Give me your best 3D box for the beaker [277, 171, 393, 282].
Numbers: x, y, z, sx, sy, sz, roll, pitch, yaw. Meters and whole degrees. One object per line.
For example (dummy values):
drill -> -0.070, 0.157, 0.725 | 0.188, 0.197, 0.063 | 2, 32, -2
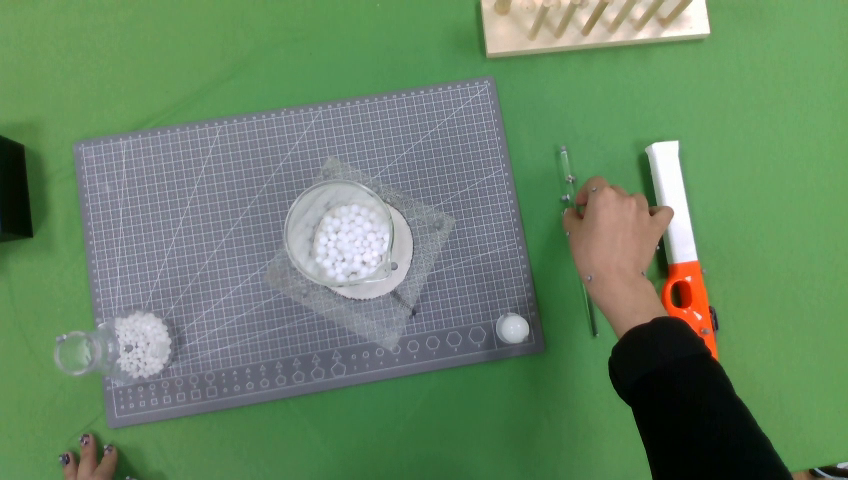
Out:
beaker -> -0.058, -0.003, 0.454 | 0.084, 0.100, 0.074 | 41, 86, 2

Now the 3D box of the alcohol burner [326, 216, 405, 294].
alcohol burner -> -0.057, 0.013, 0.576 | 0.078, 0.119, 0.078 | 0, 86, 0

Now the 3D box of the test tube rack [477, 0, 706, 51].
test tube rack -> 0.181, -0.254, 0.622 | 0.242, 0.085, 0.066 | -6, 84, -2

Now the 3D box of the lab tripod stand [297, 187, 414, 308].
lab tripod stand -> -0.059, 0.009, 0.567 | 0.148, 0.131, 0.148 | 0, 86, 0

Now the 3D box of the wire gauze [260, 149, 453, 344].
wire gauze -> -0.055, 0.004, 0.501 | 0.125, 0.011, 0.121 | 27, 88, -1

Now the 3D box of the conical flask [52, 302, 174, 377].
conical flask -> -0.289, 0.095, 0.559 | 0.075, 0.122, 0.075 | 0, 84, -1

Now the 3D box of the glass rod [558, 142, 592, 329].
glass rod -> 0.160, -0.005, 0.639 | 0.008, 0.008, 0.199 | -8, 88, -2

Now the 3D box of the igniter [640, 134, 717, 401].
igniter -> 0.264, 0.026, 0.630 | 0.057, 0.025, 0.276 | -7, 85, -13

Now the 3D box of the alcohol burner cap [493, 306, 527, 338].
alcohol burner cap -> 0.088, 0.082, 0.610 | 0.034, 0.048, 0.034 | 0, 82, -3
